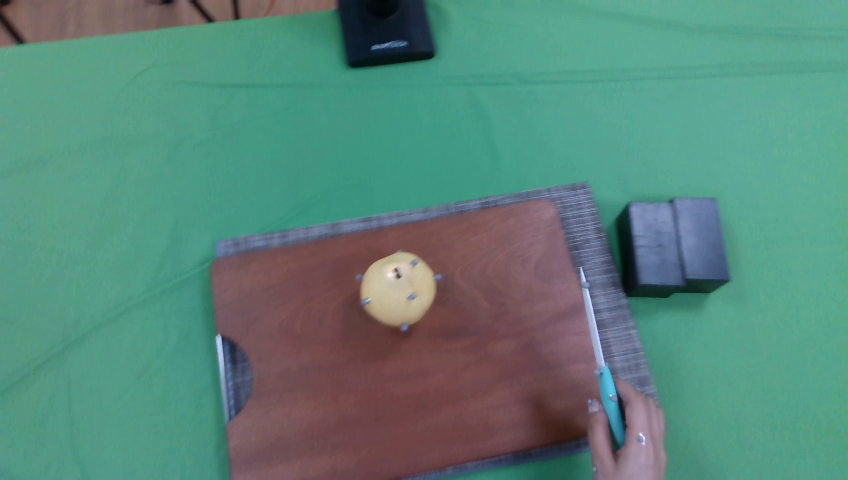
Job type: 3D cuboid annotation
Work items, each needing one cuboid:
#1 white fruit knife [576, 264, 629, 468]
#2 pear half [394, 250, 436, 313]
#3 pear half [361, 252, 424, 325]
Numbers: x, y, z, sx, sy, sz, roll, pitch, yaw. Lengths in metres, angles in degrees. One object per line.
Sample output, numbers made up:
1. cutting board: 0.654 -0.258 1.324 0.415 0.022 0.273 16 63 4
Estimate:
1. white fruit knife: 0.164 0.121 0.564 0.016 0.027 0.208 -15 98 -4
2. pear half: -0.006 0.037 0.629 0.031 0.088 0.070 -31 69 -12
3. pear half: -0.036 0.050 0.612 0.056 0.110 0.076 -31 70 -12
